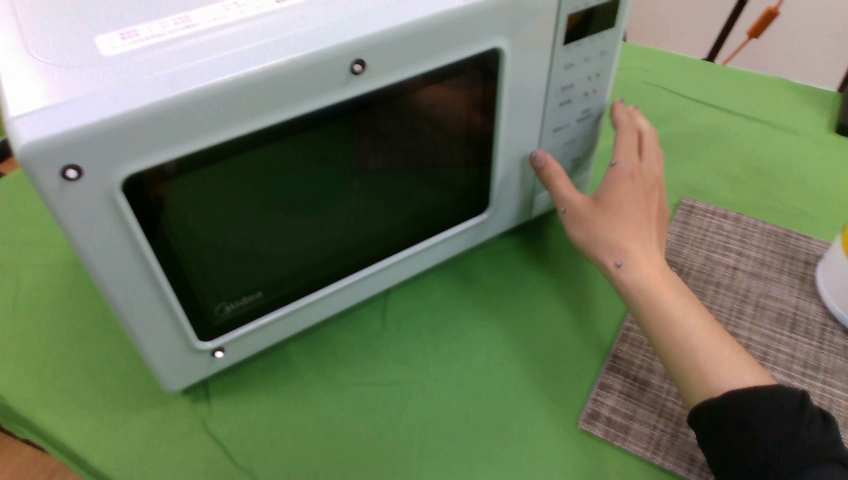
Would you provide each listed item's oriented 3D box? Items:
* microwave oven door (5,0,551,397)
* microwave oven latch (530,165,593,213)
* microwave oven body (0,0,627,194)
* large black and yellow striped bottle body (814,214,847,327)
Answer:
[{"bbox_3d":[-0.060,-0.039,0.455,0.356,0.246,0.039,-26,50,-21],"label":"microwave oven door"},{"bbox_3d":[0.130,-0.056,0.606,0.079,0.030,0.030,-23,50,-18],"label":"microwave oven latch"},{"bbox_3d":[-0.102,-0.138,0.561,0.442,0.262,0.322,-26,51,-20],"label":"microwave oven body"},{"bbox_3d":[0.408,-0.011,0.467,0.131,0.186,0.129,-1,46,1],"label":"large black and yellow striped bottle body"}]
